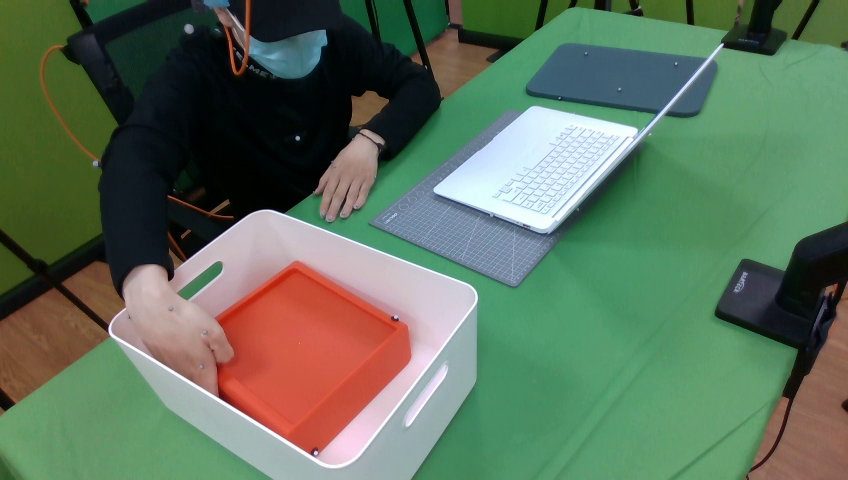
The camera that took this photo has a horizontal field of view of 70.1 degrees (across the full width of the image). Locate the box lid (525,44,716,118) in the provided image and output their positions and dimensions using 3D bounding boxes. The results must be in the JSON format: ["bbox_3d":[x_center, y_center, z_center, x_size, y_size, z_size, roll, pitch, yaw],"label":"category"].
[{"bbox_3d":[0.432,-0.360,1.342,0.369,0.015,0.263,16,45,24],"label":"box lid"}]

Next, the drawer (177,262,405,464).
[{"bbox_3d":[-0.164,0.146,0.769,0.210,0.073,0.195,26,49,29],"label":"drawer"}]

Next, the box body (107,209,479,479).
[{"bbox_3d":[-0.140,0.136,0.725,0.361,0.161,0.254,19,47,28],"label":"box body"}]

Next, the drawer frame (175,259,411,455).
[{"bbox_3d":[-0.161,0.141,0.767,0.212,0.083,0.202,26,48,30],"label":"drawer frame"}]

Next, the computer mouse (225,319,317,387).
[{"bbox_3d":[-0.202,0.142,0.801,0.118,0.041,0.062,-29,40,-33],"label":"computer mouse"}]

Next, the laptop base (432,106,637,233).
[{"bbox_3d":[0.210,-0.142,1.111,0.233,0.023,0.355,21,48,33],"label":"laptop base"}]

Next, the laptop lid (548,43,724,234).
[{"bbox_3d":[0.336,-0.160,0.956,0.013,0.241,0.358,43,54,8],"label":"laptop lid"}]
